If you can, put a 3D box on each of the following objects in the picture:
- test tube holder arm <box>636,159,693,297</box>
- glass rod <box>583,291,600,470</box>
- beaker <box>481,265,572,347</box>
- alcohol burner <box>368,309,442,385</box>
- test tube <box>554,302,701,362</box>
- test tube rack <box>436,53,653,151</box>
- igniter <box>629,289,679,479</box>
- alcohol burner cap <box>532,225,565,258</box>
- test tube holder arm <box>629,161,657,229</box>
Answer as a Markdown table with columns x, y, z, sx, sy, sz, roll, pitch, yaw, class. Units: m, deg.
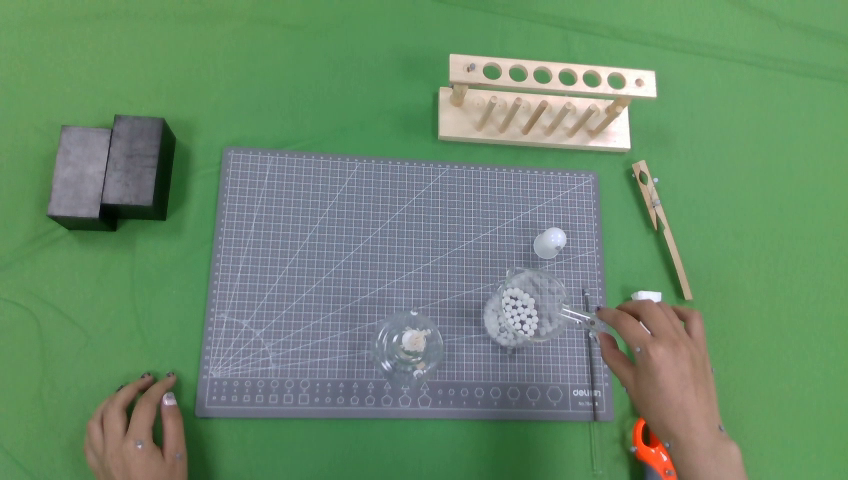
| x | y | z | sx | sy | sz | roll | pitch | yaw | class |
| --- | --- | --- | --- | --- | --- | --- | --- | --- | --- |
| 0.293 | -0.016 | 0.742 | 0.013 | 0.015 | 0.177 | -23 | 78 | 22 | test tube holder arm |
| 0.188 | 0.155 | 0.686 | 0.008 | 0.008 | 0.198 | 2 | 75 | -8 | glass rod |
| 0.102 | 0.073 | 0.648 | 0.074 | 0.100 | 0.083 | -30 | 80 | -14 | beaker |
| -0.017 | 0.106 | 0.615 | 0.078 | 0.119 | 0.077 | 2 | 73 | -7 | alcohol burner |
| 0.197 | 0.090 | 0.586 | 0.150 | 0.017 | 0.017 | 18 | 73 | -4 | test tube |
| 0.140 | -0.161 | 0.724 | 0.243 | 0.085 | 0.066 | 3 | 75 | -7 | test tube rack |
| 0.255 | 0.192 | 0.680 | 0.057 | 0.025 | 0.275 | 6 | 75 | -17 | igniter |
| 0.147 | 0.000 | 0.703 | 0.034 | 0.048 | 0.033 | 2 | 76 | -7 | alcohol burner cap |
| 0.275 | -0.056 | 0.752 | 0.010 | 0.015 | 0.087 | -22 | 79 | 22 | test tube holder arm |
